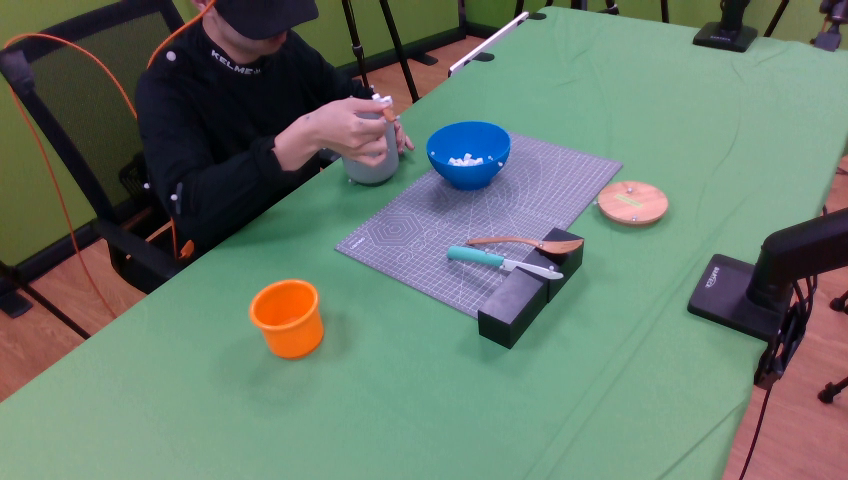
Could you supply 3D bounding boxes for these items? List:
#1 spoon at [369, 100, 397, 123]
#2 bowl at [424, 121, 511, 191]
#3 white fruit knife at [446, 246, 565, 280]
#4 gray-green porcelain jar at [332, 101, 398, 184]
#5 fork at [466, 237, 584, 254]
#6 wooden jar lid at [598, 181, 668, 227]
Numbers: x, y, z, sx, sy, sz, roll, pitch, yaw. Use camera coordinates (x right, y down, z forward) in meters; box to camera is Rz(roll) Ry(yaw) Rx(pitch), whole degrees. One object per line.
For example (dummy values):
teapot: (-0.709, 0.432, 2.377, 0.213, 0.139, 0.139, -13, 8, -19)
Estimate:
spoon: (-0.062, -0.205, 0.960, 0.042, 0.022, 0.193, -9, 18, -6)
bowl: (0.080, -0.141, 1.074, 0.151, 0.077, 0.150, -4, 41, 4)
white fruit knife: (0.111, 0.033, 0.868, 0.205, 0.027, 0.016, 11, 44, 40)
gray-green porcelain jar: (-0.104, -0.174, 1.109, 0.106, 0.127, 0.105, -4, 41, 4)
fork: (0.142, 0.005, 0.894, 0.205, 0.019, 0.028, 4, 43, 41)
wooden jar lid: (0.340, -0.057, 0.989, 0.108, 0.021, 0.108, -5, 41, 5)
